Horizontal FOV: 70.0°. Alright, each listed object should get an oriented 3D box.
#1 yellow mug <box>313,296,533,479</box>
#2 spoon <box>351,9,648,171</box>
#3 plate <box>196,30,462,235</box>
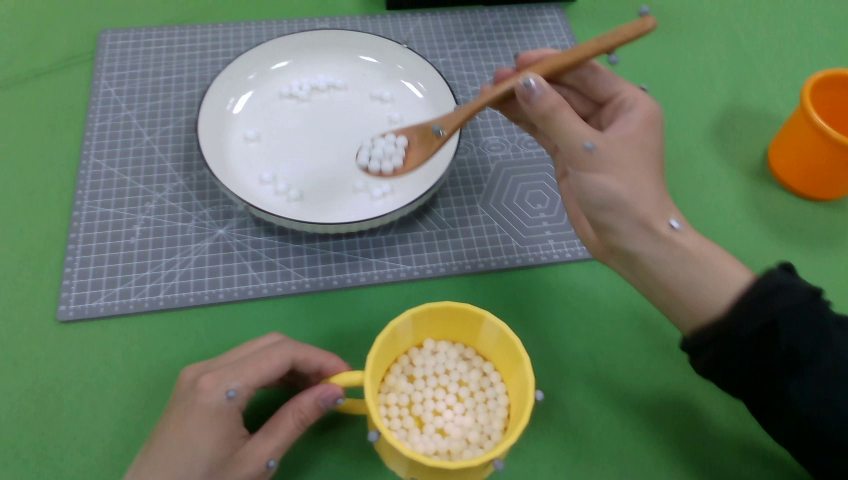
[{"bbox_3d":[-0.003,0.093,0.375,0.131,0.064,0.099,1,59,-3],"label":"yellow mug"},{"bbox_3d":[0.041,-0.091,0.368,0.193,0.022,0.041,-26,51,17],"label":"spoon"},{"bbox_3d":[-0.073,-0.088,0.493,0.208,0.039,0.205,2,58,-3],"label":"plate"}]
